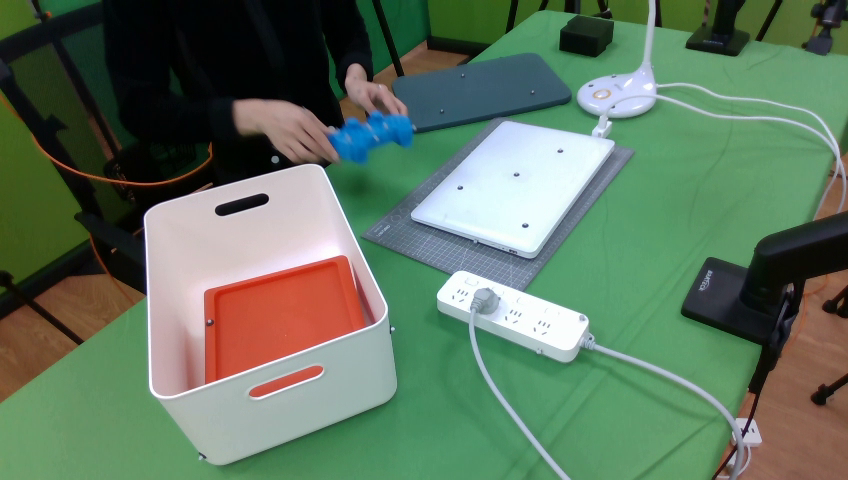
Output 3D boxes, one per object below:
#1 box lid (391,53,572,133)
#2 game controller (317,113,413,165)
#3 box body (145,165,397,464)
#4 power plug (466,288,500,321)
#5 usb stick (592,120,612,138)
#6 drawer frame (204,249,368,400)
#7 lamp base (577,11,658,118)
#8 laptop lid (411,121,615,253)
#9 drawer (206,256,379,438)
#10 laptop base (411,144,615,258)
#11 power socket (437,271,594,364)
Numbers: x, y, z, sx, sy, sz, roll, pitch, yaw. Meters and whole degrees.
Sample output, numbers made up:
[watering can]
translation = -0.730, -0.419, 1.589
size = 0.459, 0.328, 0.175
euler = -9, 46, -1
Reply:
[box lid]
translation = 0.123, -0.339, 1.366
size = 0.372, 0.015, 0.261
euler = -12, 40, -5
[game controller]
translation = -0.090, -0.172, 0.987
size = 0.156, 0.052, 0.096
euler = -26, 43, -34
[box body]
translation = -0.205, 0.080, 0.802
size = 0.255, 0.161, 0.361
euler = -18, 41, -13
[power plug]
translation = 0.072, 0.093, 0.813
size = 0.035, 0.053, 0.073
euler = 30, 54, 35
[usb stick]
translation = 0.335, -0.203, 1.149
size = 0.021, 0.027, 0.059
euler = 25, 53, 26
[drawer frame]
translation = -0.174, 0.129, 0.791
size = 0.202, 0.083, 0.212
euler = -16, 45, -8
[lamp base]
translation = 0.406, -0.363, 1.222
size = 0.180, 0.181, 0.159
euler = -20, 42, -18
[laptop lid]
translation = 0.164, -0.112, 1.068
size = 0.240, 0.013, 0.357
euler = 19, 46, 31
[drawer]
translation = -0.177, 0.130, 0.787
size = 0.195, 0.073, 0.210
euler = -14, 39, -9
[laptop base]
translation = 0.167, -0.102, 1.074
size = 0.234, 0.023, 0.355
euler = 17, 45, 30
[power socket]
translation = 0.118, 0.102, 0.830
size = 0.225, 0.033, 0.072
euler = 20, 48, 28
